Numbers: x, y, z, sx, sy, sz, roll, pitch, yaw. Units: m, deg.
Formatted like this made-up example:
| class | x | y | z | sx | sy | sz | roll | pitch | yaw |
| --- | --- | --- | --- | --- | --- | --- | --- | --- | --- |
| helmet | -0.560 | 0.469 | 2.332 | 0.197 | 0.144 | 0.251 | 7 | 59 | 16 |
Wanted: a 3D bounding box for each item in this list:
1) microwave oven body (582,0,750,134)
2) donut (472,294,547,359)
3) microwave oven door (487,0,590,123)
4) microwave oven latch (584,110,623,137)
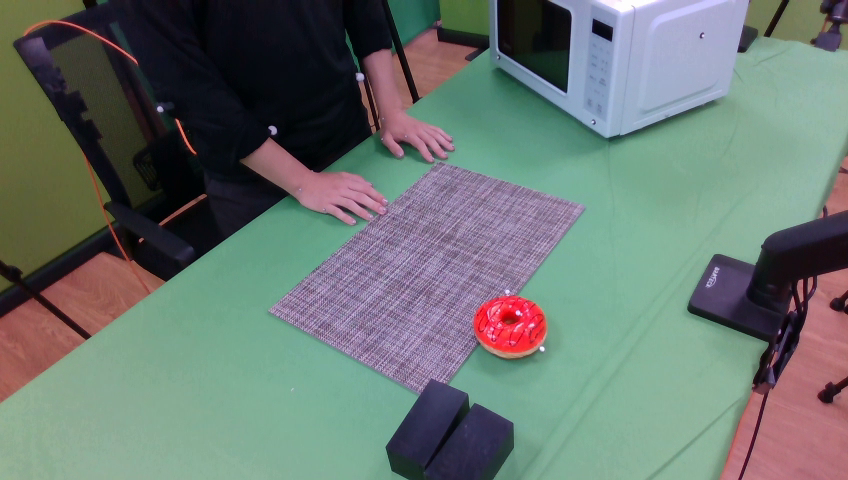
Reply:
| class | x | y | z | sx | sy | sz | roll | pitch | yaw |
| --- | --- | --- | --- | --- | --- | --- | --- | --- | --- |
| microwave oven body | 0.382 | -0.444 | 1.246 | 0.327 | 0.261 | 0.437 | -22 | 42 | -16 |
| donut | 0.114 | 0.114 | 0.803 | 0.099 | 0.048 | 0.098 | 0 | 40 | 1 |
| microwave oven door | 0.232 | -0.420 | 1.231 | 0.039 | 0.245 | 0.352 | -22 | 43 | -16 |
| microwave oven latch | 0.337 | -0.222 | 1.142 | 0.030 | 0.029 | 0.078 | -21 | 42 | -14 |
